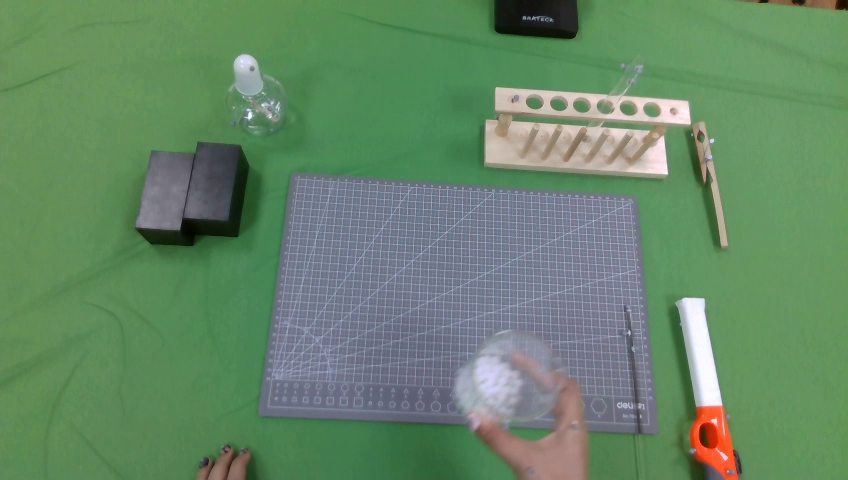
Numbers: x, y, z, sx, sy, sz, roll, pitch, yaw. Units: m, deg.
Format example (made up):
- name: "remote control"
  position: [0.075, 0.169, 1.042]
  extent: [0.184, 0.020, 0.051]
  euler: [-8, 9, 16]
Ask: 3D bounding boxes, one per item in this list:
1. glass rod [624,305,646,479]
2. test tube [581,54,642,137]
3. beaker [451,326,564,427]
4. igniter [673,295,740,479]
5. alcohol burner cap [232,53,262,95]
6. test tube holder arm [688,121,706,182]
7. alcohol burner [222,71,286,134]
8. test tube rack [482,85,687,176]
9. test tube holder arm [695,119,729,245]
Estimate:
- name: "glass rod"
  position: [0.244, 0.172, 0.704]
  extent: [0.008, 0.008, 0.198]
  euler: [3, 69, -4]
- name: "test tube"
  position: [0.224, -0.172, 0.739]
  extent: [0.017, 0.151, 0.017]
  euler: [4, 66, -8]
- name: "beaker"
  position: [0.068, 0.123, 0.529]
  extent: [0.084, 0.101, 0.073]
  euler: [-5, 69, -11]
- name: "igniter"
  position: [0.324, 0.197, 0.695]
  extent: [0.057, 0.025, 0.274]
  euler: [4, 69, -14]
- name: "alcohol burner cap"
  position: [-0.209, -0.199, 0.712]
  extent: [0.034, 0.048, 0.033]
  euler: [4, 63, -8]
- name: "test tube holder arm"
  position: [0.372, -0.120, 0.822]
  extent: [0.010, 0.015, 0.087]
  euler: [-15, 68, 28]
- name: "alcohol burner"
  position: [-0.212, -0.184, 0.745]
  extent: [0.078, 0.120, 0.077]
  euler: [1, 67, -2]
- name: "test tube rack"
  position: [0.201, -0.138, 0.777]
  extent: [0.242, 0.085, 0.066]
  euler: [3, 69, -3]
- name: "test tube holder arm"
  position: [0.381, -0.079, 0.804]
  extent: [0.013, 0.015, 0.177]
  euler: [-16, 68, 28]
